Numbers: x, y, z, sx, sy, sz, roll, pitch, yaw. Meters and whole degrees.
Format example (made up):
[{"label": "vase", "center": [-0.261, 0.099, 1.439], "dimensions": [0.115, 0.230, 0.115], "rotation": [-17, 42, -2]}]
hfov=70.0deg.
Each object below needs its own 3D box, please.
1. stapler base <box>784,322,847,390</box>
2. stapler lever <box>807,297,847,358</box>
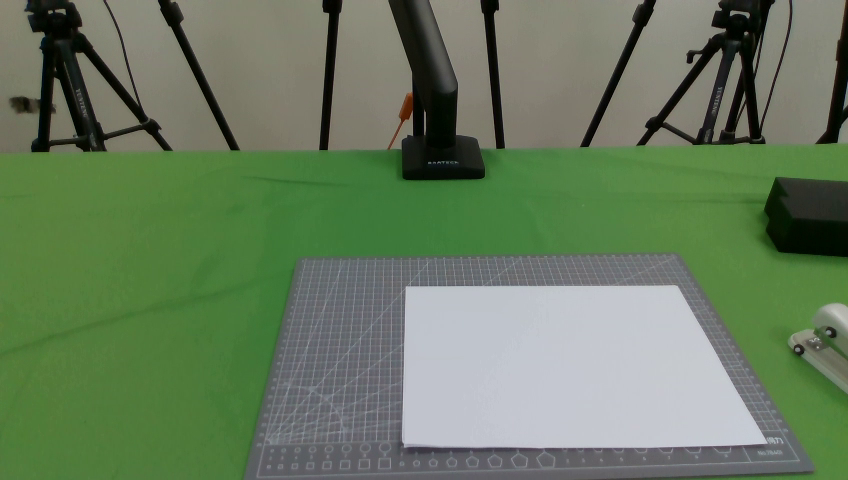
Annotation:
[{"label": "stapler base", "center": [0.396, 0.116, 0.556], "dimensions": [0.041, 0.024, 0.129], "rotation": [-14, 40, -17]}, {"label": "stapler lever", "center": [0.398, 0.097, 0.541], "dimensions": [0.027, 0.040, 0.116], "rotation": [-15, 39, -17]}]
